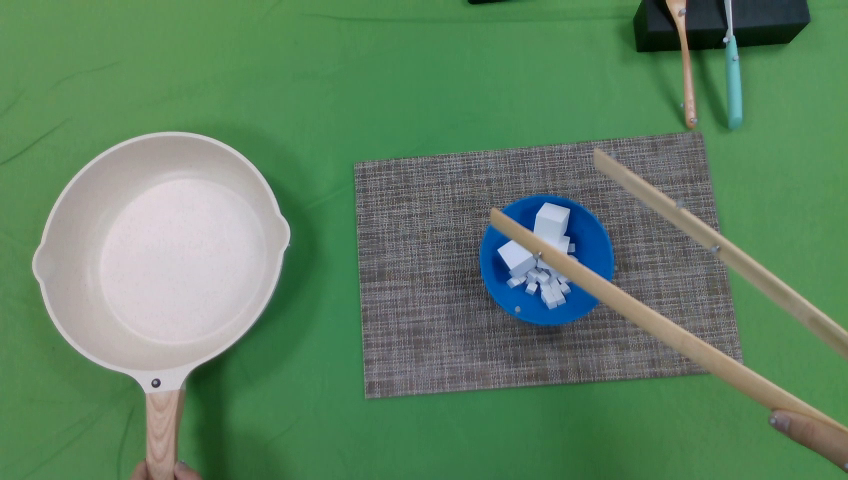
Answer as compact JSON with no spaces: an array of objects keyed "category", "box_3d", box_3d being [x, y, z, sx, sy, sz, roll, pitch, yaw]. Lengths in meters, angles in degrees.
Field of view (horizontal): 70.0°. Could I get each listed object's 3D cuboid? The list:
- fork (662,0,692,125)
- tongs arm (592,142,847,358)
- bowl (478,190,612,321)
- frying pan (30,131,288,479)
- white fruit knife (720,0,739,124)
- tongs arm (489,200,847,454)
[{"category":"fork","box_3d":[0.319,-0.249,0.761,0.028,0.018,0.208,-11,98,-1]},{"category":"tongs arm","box_3d":[0.258,0.024,0.517,0.051,0.027,0.380,-26,48,-18]},{"category":"bowl","box_3d":[0.137,0.024,0.712,0.151,0.077,0.150,0,78,2]},{"category":"frying pan","box_3d":[-0.300,0.110,0.704,0.307,0.103,0.484,-7,69,2]},{"category":"white fruit knife","box_3d":[0.378,-0.251,0.758,0.016,0.027,0.207,-6,94,7]},{"category":"tongs arm","box_3d":[0.195,0.060,0.493,0.028,0.028,0.383,-33,50,-28]}]
